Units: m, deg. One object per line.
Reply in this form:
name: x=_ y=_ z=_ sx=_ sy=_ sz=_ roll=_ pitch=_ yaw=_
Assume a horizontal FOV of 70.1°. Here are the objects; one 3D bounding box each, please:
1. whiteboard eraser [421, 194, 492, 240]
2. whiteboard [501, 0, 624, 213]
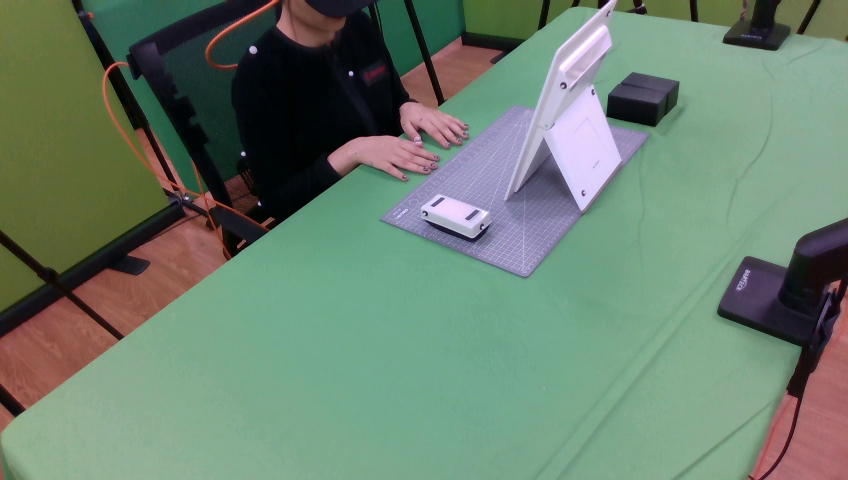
whiteboard eraser: x=0.052 y=-0.037 z=0.996 sx=0.112 sy=0.042 sz=0.056 roll=23 pitch=50 yaw=32
whiteboard: x=0.271 y=-0.189 z=0.977 sx=0.143 sy=0.306 sz=0.218 roll=34 pitch=53 yaw=16
